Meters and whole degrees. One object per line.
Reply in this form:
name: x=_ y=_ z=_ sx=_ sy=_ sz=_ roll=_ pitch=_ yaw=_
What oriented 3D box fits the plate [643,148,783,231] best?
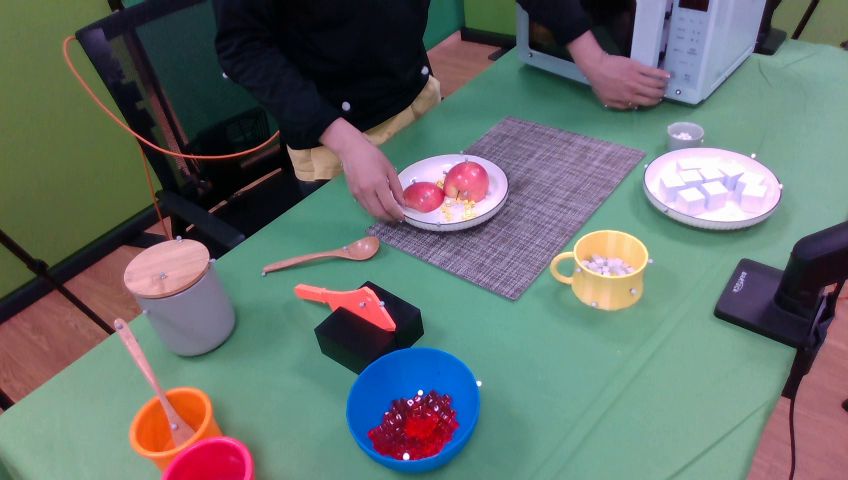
plate: x=0.464 y=-0.080 z=0.986 sx=0.207 sy=0.039 sz=0.206 roll=-4 pitch=41 yaw=4

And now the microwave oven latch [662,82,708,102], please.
microwave oven latch: x=0.518 y=-0.298 z=1.202 sx=0.078 sy=0.029 sz=0.030 roll=28 pitch=53 yaw=35

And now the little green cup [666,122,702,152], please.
little green cup: x=0.471 y=-0.184 z=1.102 sx=0.061 sy=0.039 sz=0.061 roll=-5 pitch=41 yaw=5

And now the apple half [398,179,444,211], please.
apple half: x=-0.004 y=-0.088 z=1.045 sx=0.081 sy=0.033 sz=0.081 roll=-1 pitch=42 yaw=1

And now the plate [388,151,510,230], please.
plate: x=0.044 y=-0.083 z=1.042 sx=0.209 sy=0.038 sz=0.208 roll=-4 pitch=41 yaw=4

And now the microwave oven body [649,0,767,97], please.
microwave oven body: x=0.474 y=-0.516 z=1.313 sx=0.438 sy=0.261 sz=0.327 roll=26 pitch=51 yaw=34

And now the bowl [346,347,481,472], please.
bowl: x=-0.008 y=0.205 z=0.691 sx=0.151 sy=0.077 sz=0.150 roll=-4 pitch=40 yaw=4

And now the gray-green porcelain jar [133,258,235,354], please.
gray-green porcelain jar: x=-0.328 y=0.086 z=0.836 sx=0.106 sy=0.127 sz=0.105 roll=-4 pitch=41 yaw=4

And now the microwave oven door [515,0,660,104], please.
microwave oven door: x=0.328 y=-0.446 z=1.245 sx=0.039 sy=0.245 sz=0.352 roll=-34 pitch=47 yaw=-27

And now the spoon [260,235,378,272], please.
spoon: x=-0.167 y=0.024 z=0.966 sx=0.194 sy=0.022 sz=0.041 roll=-10 pitch=58 yaw=-3

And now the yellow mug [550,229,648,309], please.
yellow mug: x=0.245 y=0.040 z=0.856 sx=0.130 sy=0.064 sz=0.099 roll=1 pitch=42 yaw=11

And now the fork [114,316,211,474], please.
fork: x=-0.309 y=0.179 z=0.708 sx=0.028 sy=0.018 sz=0.207 roll=-30 pitch=89 yaw=-22

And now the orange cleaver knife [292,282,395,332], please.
orange cleaver knife: x=-0.115 y=0.091 z=0.835 sx=0.209 sy=0.077 sz=0.012 roll=2 pitch=32 yaw=48

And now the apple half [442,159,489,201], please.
apple half: x=0.074 y=-0.111 z=1.047 sx=0.080 sy=0.053 sz=0.075 roll=21 pitch=45 yaw=30

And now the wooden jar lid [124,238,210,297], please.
wooden jar lid: x=-0.335 y=0.039 z=0.794 sx=0.108 sy=0.021 sz=0.108 roll=-2 pitch=40 yaw=2
